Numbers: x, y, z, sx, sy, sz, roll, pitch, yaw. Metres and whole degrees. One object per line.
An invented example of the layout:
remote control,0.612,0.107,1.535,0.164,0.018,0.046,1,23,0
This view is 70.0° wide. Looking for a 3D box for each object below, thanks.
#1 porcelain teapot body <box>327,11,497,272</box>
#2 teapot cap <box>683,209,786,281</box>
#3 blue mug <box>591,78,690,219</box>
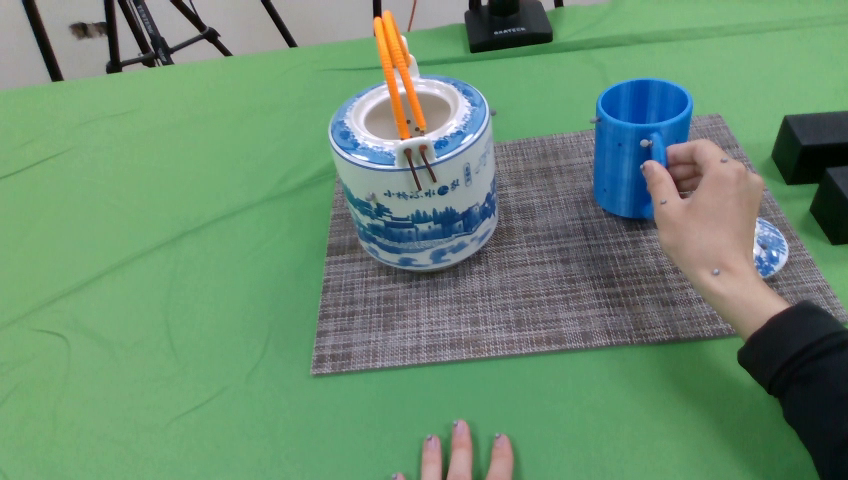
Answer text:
porcelain teapot body,-0.016,-0.107,0.567,0.145,0.227,0.203,-12,44,-1
teapot cap,0.275,-0.002,0.537,0.085,0.044,0.084,-4,44,4
blue mug,0.202,-0.076,0.565,0.082,0.107,0.115,-7,44,7
